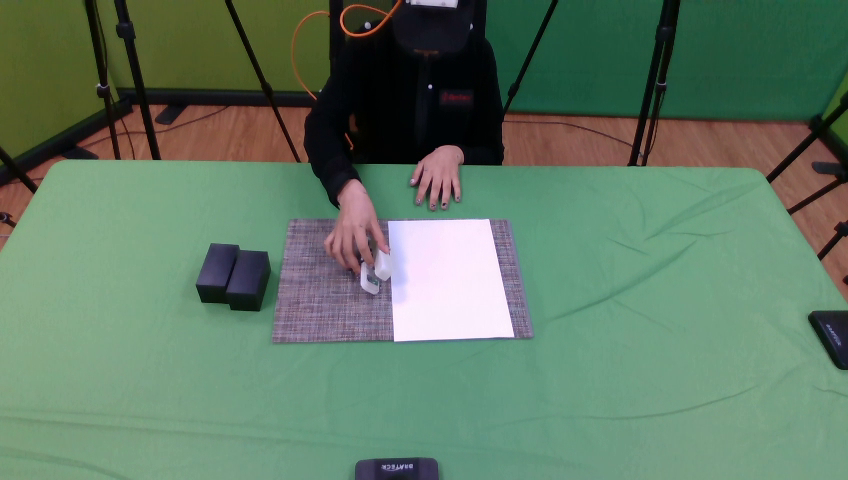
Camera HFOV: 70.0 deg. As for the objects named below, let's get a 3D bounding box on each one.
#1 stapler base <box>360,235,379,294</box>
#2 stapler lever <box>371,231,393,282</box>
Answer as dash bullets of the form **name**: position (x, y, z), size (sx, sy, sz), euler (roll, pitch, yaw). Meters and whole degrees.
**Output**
- **stapler base**: position (-0.096, 0.041, 1.132), size (0.041, 0.024, 0.129), euler (36, 33, -34)
- **stapler lever**: position (-0.079, 0.027, 1.121), size (0.027, 0.040, 0.117), euler (35, 33, -33)
